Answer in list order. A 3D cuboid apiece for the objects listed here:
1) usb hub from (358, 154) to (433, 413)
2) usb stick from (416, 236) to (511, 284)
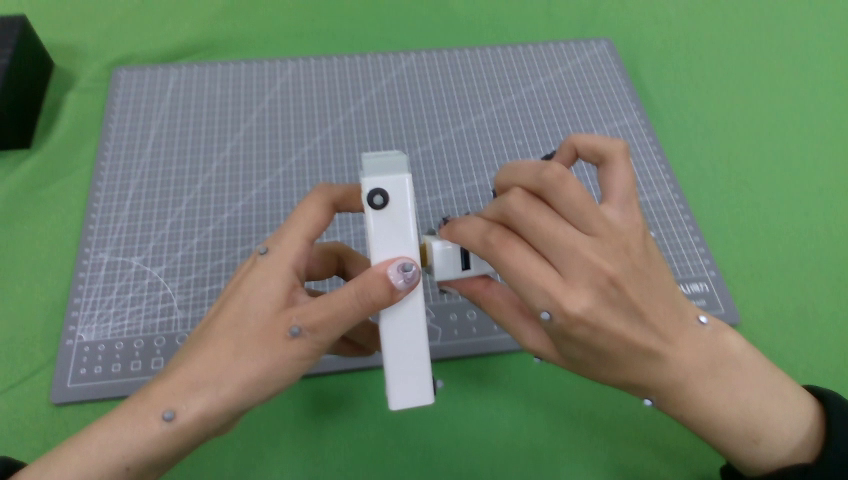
[{"bbox_3d":[-0.016,0.020,0.310,0.025,0.125,0.049,-7,13,-4],"label":"usb hub"},{"bbox_3d":[0.014,0.010,0.317,0.059,0.027,0.021,1,100,-11],"label":"usb stick"}]
